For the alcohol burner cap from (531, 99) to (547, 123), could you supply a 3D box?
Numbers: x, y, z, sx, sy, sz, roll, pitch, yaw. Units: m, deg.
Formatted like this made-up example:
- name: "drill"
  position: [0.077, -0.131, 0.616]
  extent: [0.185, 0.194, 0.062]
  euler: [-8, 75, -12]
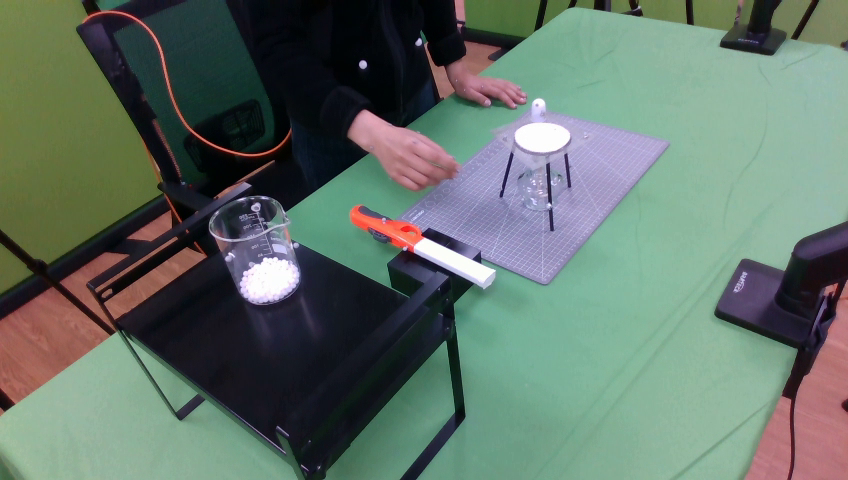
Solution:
- name: "alcohol burner cap"
  position: [0.234, -0.264, 1.231]
  extent: [0.034, 0.048, 0.033]
  euler: [-5, 41, 5]

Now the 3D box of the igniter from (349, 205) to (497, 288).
- name: "igniter"
  position: [-0.013, 0.004, 0.897]
  extent: [0.274, 0.025, 0.057]
  euler: [25, 44, 32]

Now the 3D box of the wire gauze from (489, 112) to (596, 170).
- name: "wire gauze"
  position: [0.183, -0.161, 0.942]
  extent: [0.122, 0.011, 0.124]
  euler: [-24, 44, -18]

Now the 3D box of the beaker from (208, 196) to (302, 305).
- name: "beaker"
  position: [-0.173, 0.014, 0.647]
  extent: [0.084, 0.101, 0.073]
  euler: [-1, 41, 8]

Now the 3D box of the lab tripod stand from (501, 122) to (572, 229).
- name: "lab tripod stand"
  position: [0.195, -0.110, 0.985]
  extent: [0.148, 0.132, 0.147]
  euler: [-3, 42, 3]

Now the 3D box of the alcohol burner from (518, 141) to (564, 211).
- name: "alcohol burner"
  position: [0.193, -0.109, 0.999]
  extent: [0.078, 0.119, 0.077]
  euler: [-5, 38, 5]
